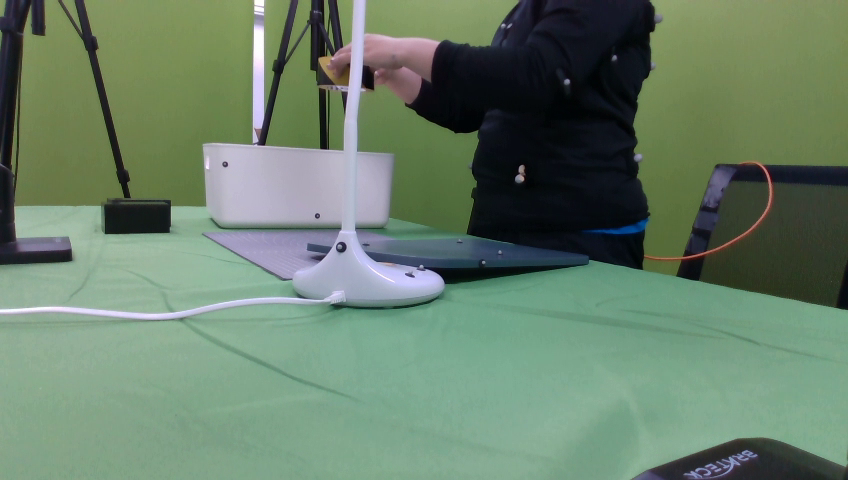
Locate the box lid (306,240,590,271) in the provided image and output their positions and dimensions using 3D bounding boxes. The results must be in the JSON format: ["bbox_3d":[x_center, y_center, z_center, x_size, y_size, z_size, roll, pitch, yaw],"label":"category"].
[{"bbox_3d":[0.042,0.019,0.879,0.262,0.015,0.374,7,5,44],"label":"box lid"}]

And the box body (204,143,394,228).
[{"bbox_3d":[-0.271,-0.117,1.291,0.366,0.160,0.253,-1,8,-25],"label":"box body"}]

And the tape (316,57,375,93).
[{"bbox_3d":[-0.151,-0.318,1.167,0.117,0.052,0.117,4,7,0],"label":"tape"}]

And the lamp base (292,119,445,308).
[{"bbox_3d":[-0.056,-0.030,0.616,0.160,0.180,0.179,4,10,8],"label":"lamp base"}]
